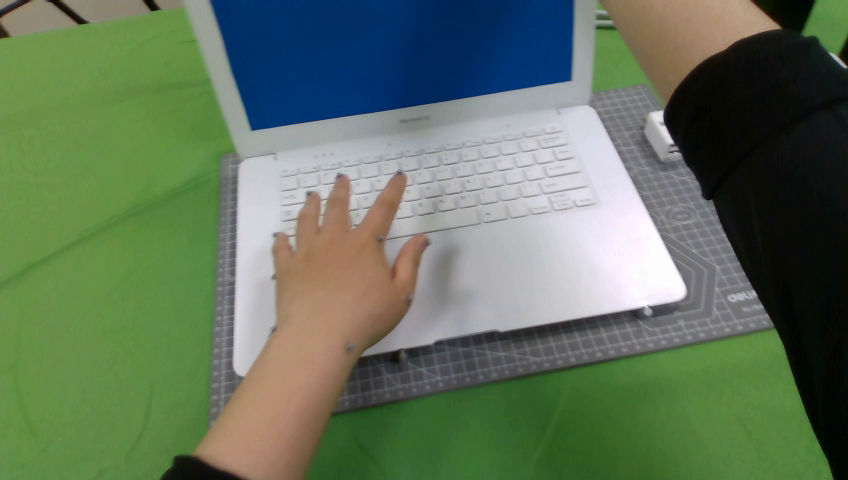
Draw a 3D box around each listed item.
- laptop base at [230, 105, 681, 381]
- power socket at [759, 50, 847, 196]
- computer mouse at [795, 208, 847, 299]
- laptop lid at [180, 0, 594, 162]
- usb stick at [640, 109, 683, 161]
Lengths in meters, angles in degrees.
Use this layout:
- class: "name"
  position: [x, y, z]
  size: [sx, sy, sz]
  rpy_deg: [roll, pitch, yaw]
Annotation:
- class: "laptop base"
  position: [0.011, -0.012, 0.531]
  size: [0.354, 0.023, 0.233]
  rpy_deg: [-10, 55, -3]
- class: "power socket"
  position: [0.394, -0.103, 0.561]
  size: [0.072, 0.033, 0.224]
  rpy_deg: [-9, 51, -2]
- class: "computer mouse"
  position: [0.349, 0.017, 0.468]
  size: [0.063, 0.041, 0.116]
  rpy_deg: [-16, 48, -4]
- class: "laptop lid"
  position: [-0.022, -0.194, 0.529]
  size: [0.357, 0.244, 0.013]
  rpy_deg: [-11, 39, -2]
- class: "usb stick"
  position: [0.224, -0.105, 0.578]
  size: [0.021, 0.027, 0.058]
  rpy_deg: [-10, 51, -2]
